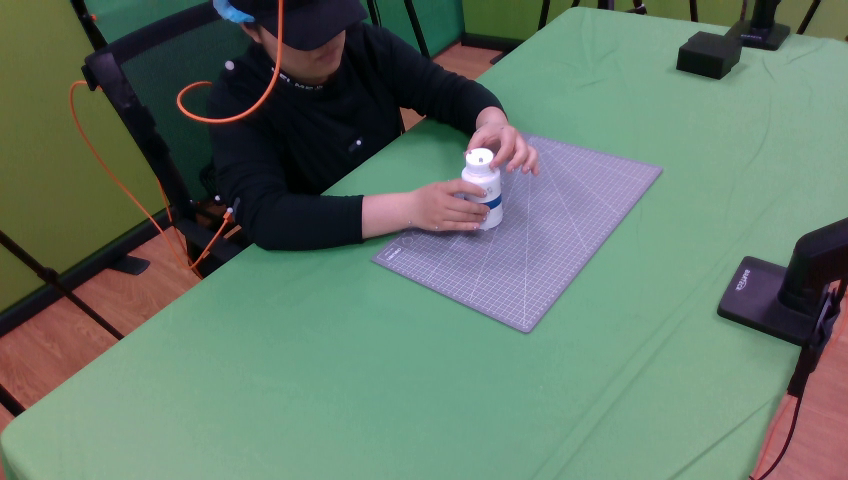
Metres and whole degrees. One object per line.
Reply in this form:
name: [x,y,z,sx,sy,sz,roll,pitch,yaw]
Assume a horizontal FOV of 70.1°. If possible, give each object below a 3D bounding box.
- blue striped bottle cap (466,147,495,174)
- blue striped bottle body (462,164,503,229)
blue striped bottle cap: [0.088,-0.125,0.944,0.044,0.021,0.044,-6,48,8]
blue striped bottle body: [0.095,-0.081,0.980,0.063,0.121,0.063,-6,40,5]
